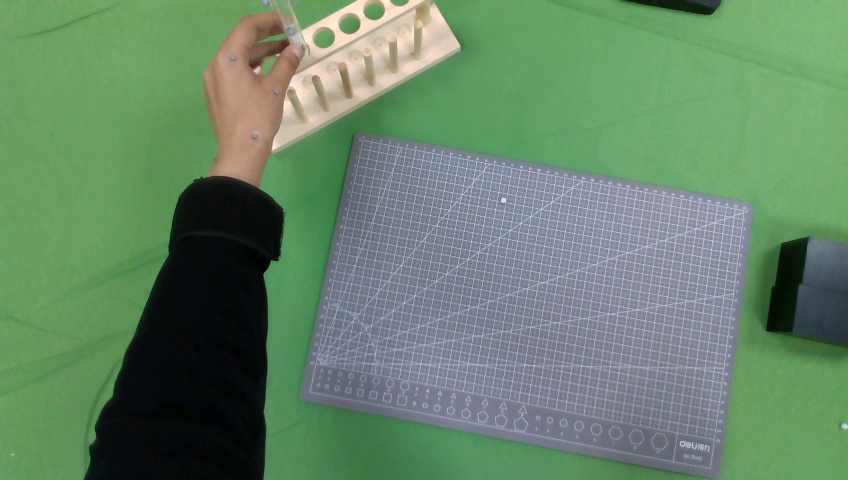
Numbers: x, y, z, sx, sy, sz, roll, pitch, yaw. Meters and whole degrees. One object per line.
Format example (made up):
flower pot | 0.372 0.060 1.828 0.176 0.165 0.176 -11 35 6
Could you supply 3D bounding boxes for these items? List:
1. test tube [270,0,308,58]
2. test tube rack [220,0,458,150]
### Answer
test tube | -0.121 -0.192 0.557 0.017 0.150 0.017 0 87 -4
test tube rack | -0.082 -0.194 0.644 0.242 0.085 0.066 -30 83 -4
